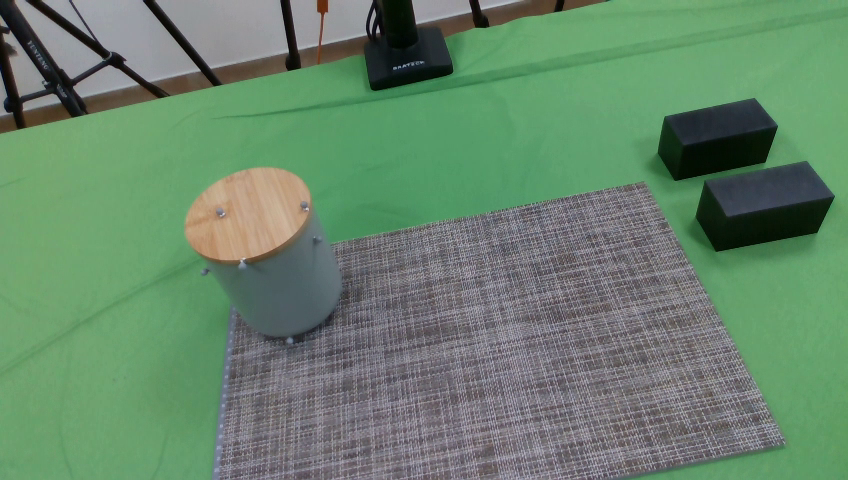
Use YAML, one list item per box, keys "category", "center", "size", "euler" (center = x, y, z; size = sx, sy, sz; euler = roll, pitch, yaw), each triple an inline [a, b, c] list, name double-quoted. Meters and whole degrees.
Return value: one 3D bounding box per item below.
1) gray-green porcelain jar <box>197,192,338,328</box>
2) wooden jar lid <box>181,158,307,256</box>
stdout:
- category: "gray-green porcelain jar"
  center: [-0.143, 0.013, 0.571]
  size: [0.106, 0.128, 0.105]
  euler: [-5, 49, 6]
- category: "wooden jar lid"
  center: [-0.153, -0.027, 0.524]
  size: [0.108, 0.021, 0.107]
  euler: [-3, 52, 4]
